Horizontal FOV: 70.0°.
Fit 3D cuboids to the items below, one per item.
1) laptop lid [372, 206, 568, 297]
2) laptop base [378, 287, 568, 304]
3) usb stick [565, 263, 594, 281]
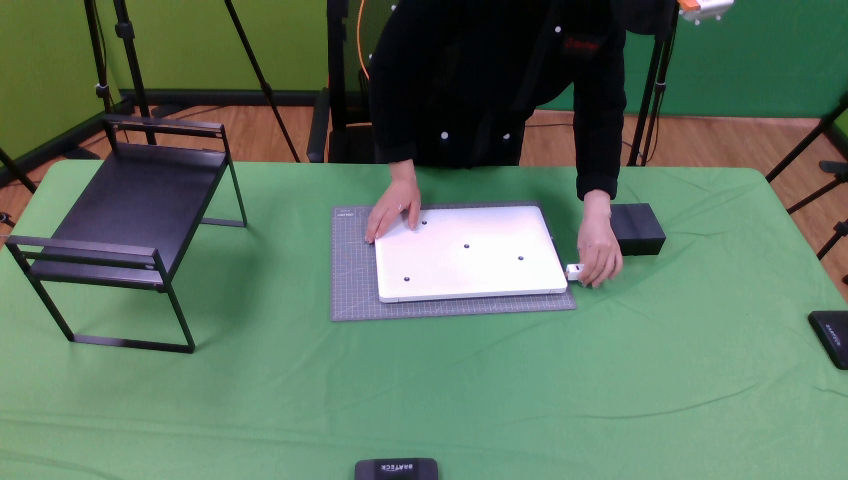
[{"bbox_3d":[0.081,0.015,1.174,0.357,0.013,0.240,-1,44,-5],"label":"laptop lid"},{"bbox_3d":[0.081,0.025,1.181,0.355,0.023,0.234,-3,43,-6],"label":"laptop base"},{"bbox_3d":[0.287,0.061,1.141,0.059,0.027,0.021,-9,41,2],"label":"usb stick"}]
